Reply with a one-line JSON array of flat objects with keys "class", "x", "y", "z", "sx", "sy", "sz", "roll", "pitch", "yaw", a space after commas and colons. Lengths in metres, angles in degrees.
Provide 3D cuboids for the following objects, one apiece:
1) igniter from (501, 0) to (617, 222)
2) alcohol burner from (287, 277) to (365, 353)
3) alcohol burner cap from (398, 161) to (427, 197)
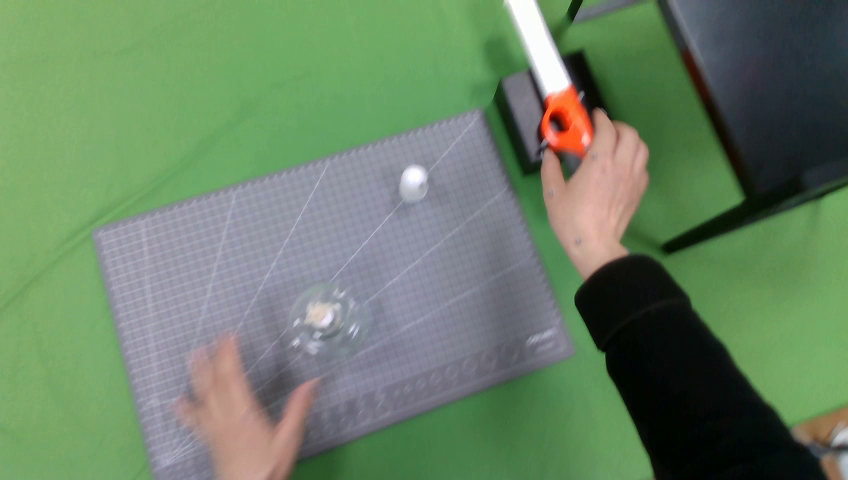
[{"class": "igniter", "x": 0.144, "y": -0.150, "z": 0.652, "sx": 0.057, "sy": 0.025, "sz": 0.275, "roll": -18, "pitch": 78, "yaw": -6}, {"class": "alcohol burner", "x": -0.097, "y": 0.072, "z": 0.592, "sx": 0.078, "sy": 0.119, "sz": 0.077, "roll": 1, "pitch": 80, "yaw": -3}, {"class": "alcohol burner cap", "x": -0.012, "y": -0.070, "z": 0.662, "sx": 0.034, "sy": 0.048, "sz": 0.033, "roll": 1, "pitch": 79, "yaw": -3}]
